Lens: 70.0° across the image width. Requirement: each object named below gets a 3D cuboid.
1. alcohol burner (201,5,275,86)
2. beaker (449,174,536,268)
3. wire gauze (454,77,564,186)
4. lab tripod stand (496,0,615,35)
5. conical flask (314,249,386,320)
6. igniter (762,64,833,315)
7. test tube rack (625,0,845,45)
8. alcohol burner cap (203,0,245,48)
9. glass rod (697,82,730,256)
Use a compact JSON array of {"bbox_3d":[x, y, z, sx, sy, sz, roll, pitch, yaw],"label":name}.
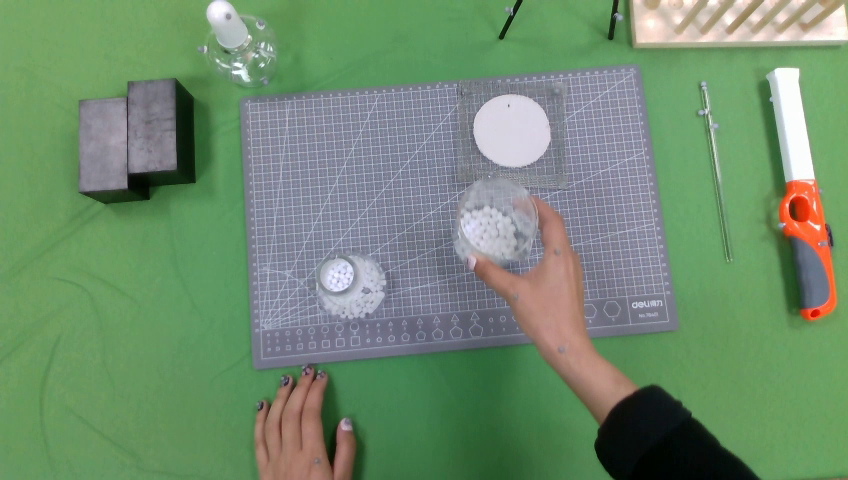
[{"bbox_3d":[-0.198,-0.209,0.631,0.078,0.119,0.077,0,82,1],"label":"alcohol burner"},{"bbox_3d":[0.064,-0.011,0.587,0.074,0.100,0.083,-37,83,-8],"label":"beaker"},{"bbox_3d":[0.095,-0.122,0.671,0.125,0.011,0.121,3,81,-3],"label":"wire gauze"},{"bbox_3d":[0.146,-0.279,0.634,0.148,0.132,0.148,0,83,0],"label":"lab tripod stand"},{"bbox_3d":[-0.078,0.039,0.588,0.075,0.122,0.075,0,81,0],"label":"conical flask"},{"bbox_3d":[0.405,-0.058,0.657,0.057,0.025,0.275,-2,82,-10],"label":"igniter"},{"bbox_3d":[0.354,-0.265,0.657,0.242,0.085,0.066,-2,81,0],"label":"test tube rack"},{"bbox_3d":[-0.198,-0.217,0.595,0.034,0.048,0.033,0,75,-1],"label":"alcohol burner cap"},{"bbox_3d":[0.318,-0.080,0.669,0.008,0.008,0.199,-4,81,-1],"label":"glass rod"}]
